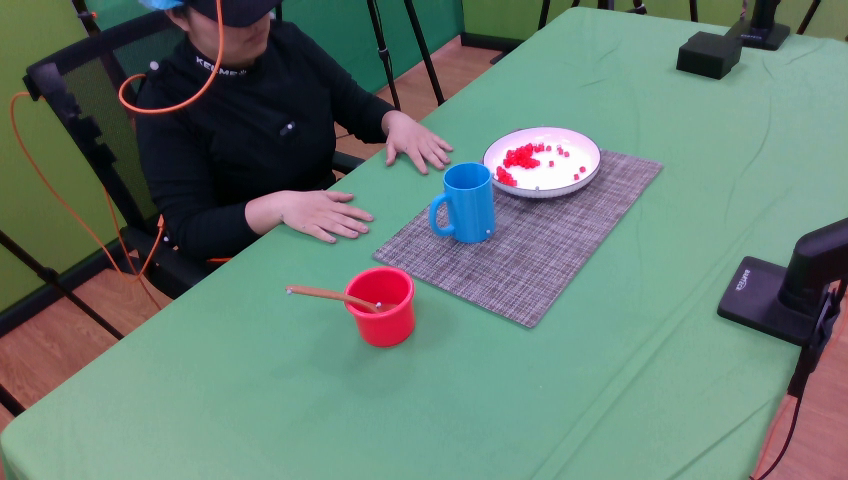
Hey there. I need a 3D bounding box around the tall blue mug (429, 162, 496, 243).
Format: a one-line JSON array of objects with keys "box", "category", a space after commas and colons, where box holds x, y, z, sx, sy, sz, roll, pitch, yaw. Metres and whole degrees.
[{"box": [0.066, -0.051, 0.960, 0.077, 0.108, 0.107, 17, 47, 27], "category": "tall blue mug"}]

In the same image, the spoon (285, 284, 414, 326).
[{"box": [-0.096, 0.083, 0.812, 0.195, 0.021, 0.041, 22, 31, -34], "category": "spoon"}]

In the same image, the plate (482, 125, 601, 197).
[{"box": [0.210, -0.138, 1.091, 0.207, 0.039, 0.206, -5, 40, 5], "category": "plate"}]
